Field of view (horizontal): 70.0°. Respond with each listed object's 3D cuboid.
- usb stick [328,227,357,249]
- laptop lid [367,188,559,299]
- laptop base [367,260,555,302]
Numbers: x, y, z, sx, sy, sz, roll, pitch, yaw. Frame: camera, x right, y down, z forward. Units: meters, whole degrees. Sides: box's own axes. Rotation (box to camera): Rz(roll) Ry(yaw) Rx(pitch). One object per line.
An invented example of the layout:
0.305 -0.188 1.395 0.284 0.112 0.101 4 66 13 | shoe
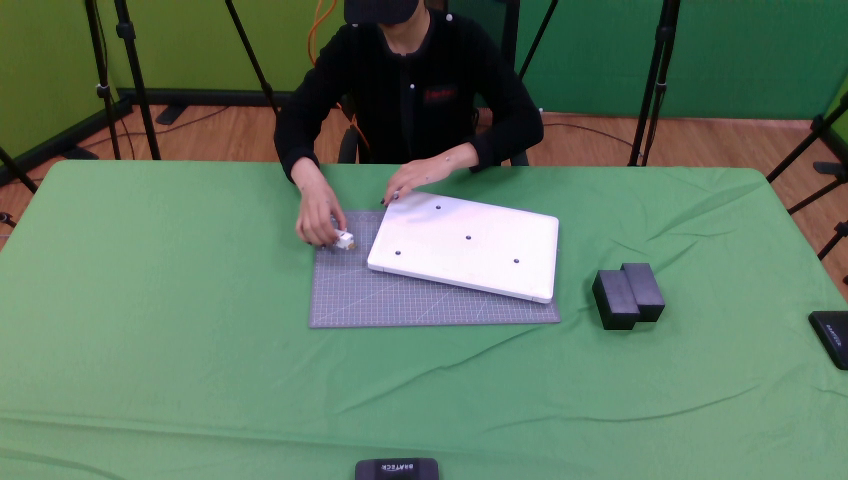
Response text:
-0.153 -0.002 1.151 0.059 0.027 0.021 22 38 21 | usb stick
0.086 -0.003 1.194 0.356 0.013 0.240 12 44 7 | laptop lid
0.085 0.007 1.201 0.354 0.023 0.234 11 43 6 | laptop base
